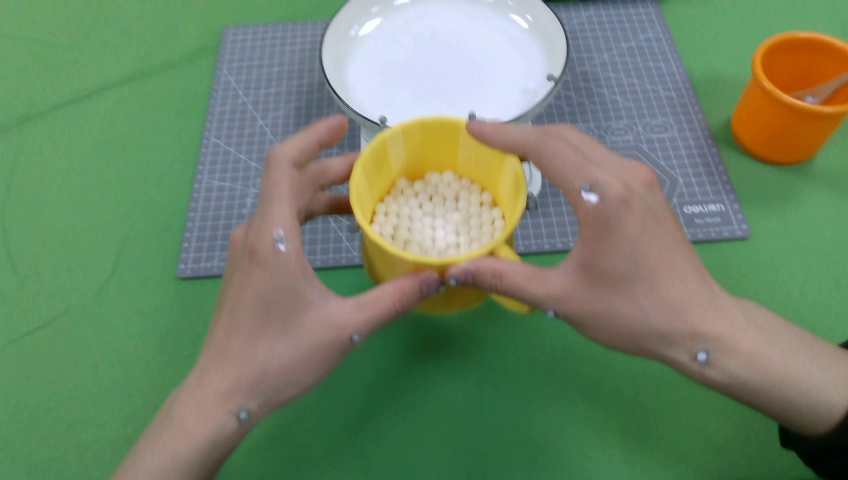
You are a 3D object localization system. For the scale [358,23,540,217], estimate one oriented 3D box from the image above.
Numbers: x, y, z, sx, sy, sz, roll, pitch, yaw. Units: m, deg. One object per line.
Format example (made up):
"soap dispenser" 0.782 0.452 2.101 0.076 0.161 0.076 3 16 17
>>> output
"scale" 0.016 -0.113 0.534 0.149 0.032 0.199 -4 58 0

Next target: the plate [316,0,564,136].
"plate" 0.014 -0.154 0.521 0.209 0.038 0.207 0 58 1

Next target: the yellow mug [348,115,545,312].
"yellow mug" 0.019 -0.007 0.353 0.100 0.064 0.130 -40 65 -22

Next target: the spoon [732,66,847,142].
"spoon" 0.338 -0.133 0.468 0.022 0.193 0.041 18 53 -40
